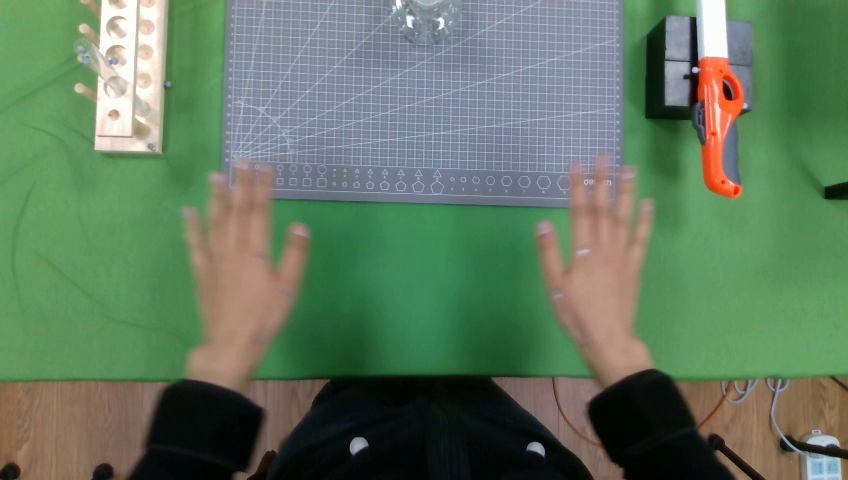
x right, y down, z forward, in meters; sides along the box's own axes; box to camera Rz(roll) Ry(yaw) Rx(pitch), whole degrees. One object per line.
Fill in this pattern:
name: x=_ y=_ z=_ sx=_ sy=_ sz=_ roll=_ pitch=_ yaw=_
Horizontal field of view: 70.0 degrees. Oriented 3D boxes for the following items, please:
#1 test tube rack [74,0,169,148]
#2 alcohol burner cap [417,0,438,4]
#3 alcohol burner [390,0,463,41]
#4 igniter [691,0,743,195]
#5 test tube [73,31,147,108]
test tube rack: x=-0.311 y=-0.223 z=0.620 sx=0.067 sy=0.085 sz=0.242 roll=2 pitch=87 yaw=-4
alcohol burner cap: x=0.004 y=-0.258 z=0.595 sx=0.034 sy=0.048 sz=0.034 roll=0 pitch=87 yaw=-2
alcohol burner: x=0.003 y=-0.256 z=0.631 sx=0.078 sy=0.119 sz=0.078 roll=0 pitch=88 yaw=-2
igniter: x=0.313 y=-0.184 z=0.651 sx=0.057 sy=0.025 sz=0.276 roll=0 pitch=85 yaw=-7
test tube: x=-0.290 y=-0.155 z=0.569 sx=0.017 sy=0.150 sz=0.017 roll=1 pitch=82 yaw=-8
